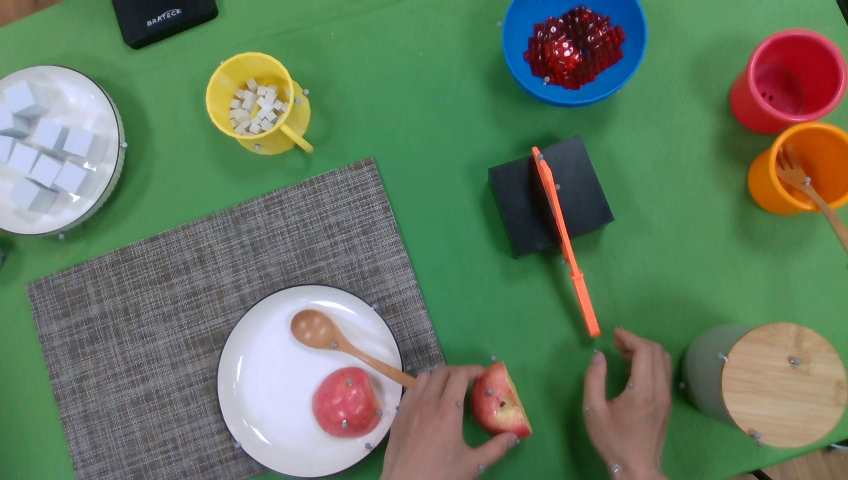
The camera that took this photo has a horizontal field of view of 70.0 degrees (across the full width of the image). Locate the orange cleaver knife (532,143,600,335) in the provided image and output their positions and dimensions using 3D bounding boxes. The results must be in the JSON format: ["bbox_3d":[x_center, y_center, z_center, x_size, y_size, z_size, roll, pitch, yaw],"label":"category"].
[{"bbox_3d":[0.150,0.000,0.645,0.012,0.077,0.212,-18,107,7],"label":"orange cleaver knife"}]

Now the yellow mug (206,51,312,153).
[{"bbox_3d":[-0.178,-0.147,0.696,0.130,0.064,0.100,41,88,7],"label":"yellow mug"}]

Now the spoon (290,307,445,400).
[{"bbox_3d":[-0.064,0.126,0.657,0.192,0.022,0.041,25,73,19],"label":"spoon"}]

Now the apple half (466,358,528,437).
[{"bbox_3d":[0.072,0.170,0.641,0.053,0.075,0.080,-21,86,5],"label":"apple half"}]

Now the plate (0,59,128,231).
[{"bbox_3d":[-0.453,-0.112,0.731,0.207,0.039,0.207,0,85,5],"label":"plate"}]

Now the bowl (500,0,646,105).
[{"bbox_3d":[0.158,-0.213,0.667,0.151,0.077,0.151,0,85,5],"label":"bowl"}]

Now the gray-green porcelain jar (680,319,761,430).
[{"bbox_3d":[0.319,0.130,0.596,0.106,0.127,0.105,-1,84,6],"label":"gray-green porcelain jar"}]

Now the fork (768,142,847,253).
[{"bbox_3d":[0.387,-0.034,0.593,0.028,0.019,0.205,-3,41,4],"label":"fork"}]

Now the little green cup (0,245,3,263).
[{"bbox_3d":[-0.543,0.017,0.725,0.061,0.039,0.061,0,85,3],"label":"little green cup"}]

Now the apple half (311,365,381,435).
[{"bbox_3d":[-0.089,0.178,0.661,0.081,0.033,0.081,-1,82,6],"label":"apple half"}]

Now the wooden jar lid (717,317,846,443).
[{"bbox_3d":[0.312,0.122,0.534,0.108,0.021,0.108,0,87,4],"label":"wooden jar lid"}]

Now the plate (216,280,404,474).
[{"bbox_3d":[-0.124,0.149,0.673,0.209,0.038,0.208,0,85,5],"label":"plate"}]
